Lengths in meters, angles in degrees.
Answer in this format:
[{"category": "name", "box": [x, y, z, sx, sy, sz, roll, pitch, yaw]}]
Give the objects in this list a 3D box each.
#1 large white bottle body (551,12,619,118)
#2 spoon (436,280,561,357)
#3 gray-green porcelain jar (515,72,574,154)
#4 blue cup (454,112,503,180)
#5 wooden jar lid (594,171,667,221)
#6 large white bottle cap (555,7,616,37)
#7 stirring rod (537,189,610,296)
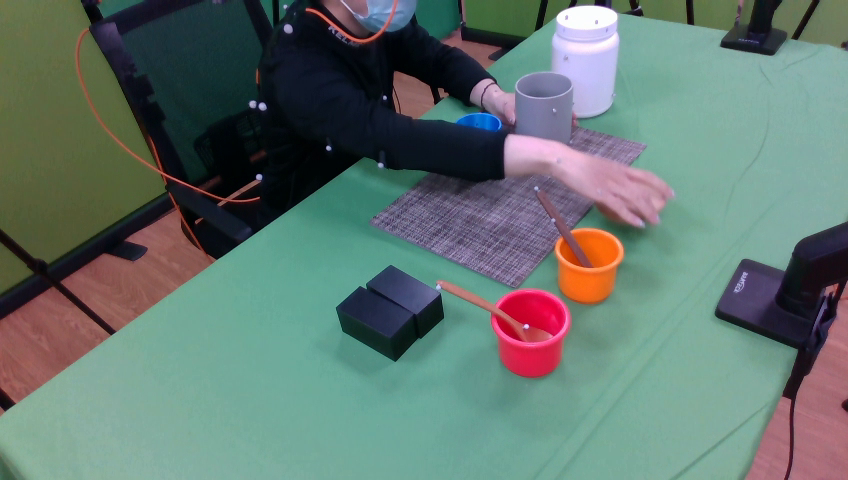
[{"category": "large white bottle body", "box": [0.321, -0.356, 1.218, 0.130, 0.185, 0.130, -4, 41, 4]}, {"category": "spoon", "box": [0.096, 0.095, 0.757, 0.195, 0.021, 0.041, 34, 42, -20]}, {"category": "gray-green porcelain jar", "box": [0.224, -0.233, 1.129, 0.106, 0.127, 0.105, -4, 41, 4]}, {"category": "blue cup", "box": [0.098, -0.165, 1.088, 0.092, 0.100, 0.092, -3, 40, 3]}, {"category": "wooden jar lid", "box": [0.324, -0.068, 0.951, 0.108, 0.021, 0.108, -8, 44, 9]}, {"category": "large white bottle cap", "box": [0.311, -0.420, 1.163, 0.115, 0.018, 0.114, -4, 40, 4]}, {"category": "stirring rod", "box": [0.211, 0.003, 0.854, 0.014, 0.006, 0.176, -32, 88, -30]}]
